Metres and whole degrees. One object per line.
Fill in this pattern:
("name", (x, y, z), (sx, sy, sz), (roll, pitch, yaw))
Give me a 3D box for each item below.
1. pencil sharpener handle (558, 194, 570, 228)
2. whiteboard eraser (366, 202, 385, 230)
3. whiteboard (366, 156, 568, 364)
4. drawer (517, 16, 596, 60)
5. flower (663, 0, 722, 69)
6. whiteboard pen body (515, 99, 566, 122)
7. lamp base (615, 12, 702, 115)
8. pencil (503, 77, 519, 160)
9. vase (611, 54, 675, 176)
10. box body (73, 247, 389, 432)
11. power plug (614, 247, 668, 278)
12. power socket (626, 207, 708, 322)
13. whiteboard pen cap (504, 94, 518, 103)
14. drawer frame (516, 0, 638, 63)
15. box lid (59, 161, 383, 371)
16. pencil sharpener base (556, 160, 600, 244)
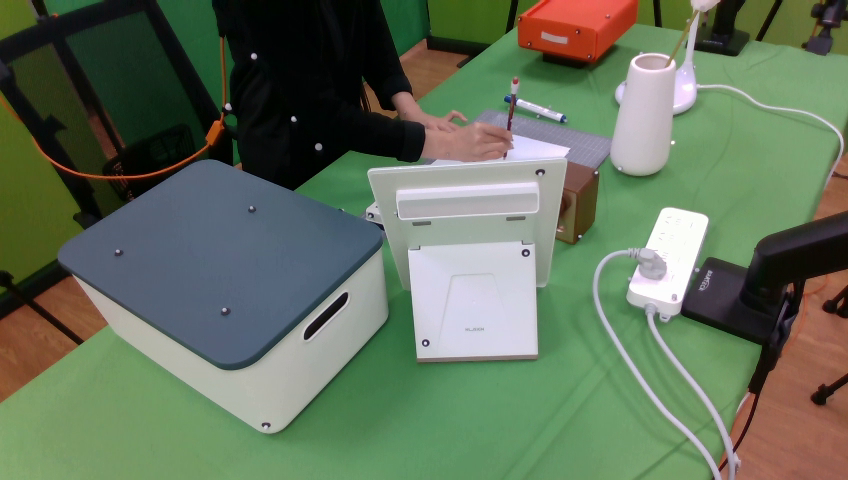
("pencil sharpener handle", (0.195, -0.038, 0.908), (0.035, 0.068, 0.031), (25, 50, 30))
("whiteboard eraser", (-0.038, -0.038, 1.006), (0.112, 0.042, 0.055), (16, 47, 25))
("whiteboard", (0.059, 0.050, 0.738), (0.217, 0.307, 0.143), (-2, 60, 6))
("drawer", (0.352, -0.506, 1.405), (0.193, 0.073, 0.212), (23, 49, 32))
("flower", (0.379, -0.261, 0.965), (0.044, 0.362, 0.038), (20, 53, 5))
("whiteboard pen body", (0.233, -0.274, 1.262), (0.139, 0.017, 0.017), (28, 51, 29))
("lamp base", (0.484, -0.363, 1.211), (0.180, 0.181, 0.159), (-15, 41, -14))
("pencil", (0.150, -0.204, 1.057), (0.012, 0.195, 0.012), (0, 52, 0))
("vase", (0.377, -0.209, 1.031), (0.098, 0.201, 0.097), (-3, 40, 3))
("box body", (-0.255, 0.065, 0.827), (0.361, 0.161, 0.255), (21, 48, 29))
("power plug", (0.306, 0.031, 0.851), (0.072, 0.053, 0.035), (24, 49, 33))
("power socket", (0.359, 0.025, 0.886), (0.072, 0.033, 0.227), (16, 46, 26))
("whiteboard pen cap", (0.190, -0.299, 1.292), (0.033, 0.018, 0.018), (30, 52, 28))
("drawer frame", (0.355, -0.508, 1.411), (0.200, 0.083, 0.214), (23, 51, 32))
("box lid", (-0.261, 0.010, 0.777), (0.369, 0.015, 0.264), (21, 48, 29))
("pencil sharpener base", (0.228, -0.057, 0.945), (0.061, 0.107, 0.077), (24, 50, 31))
